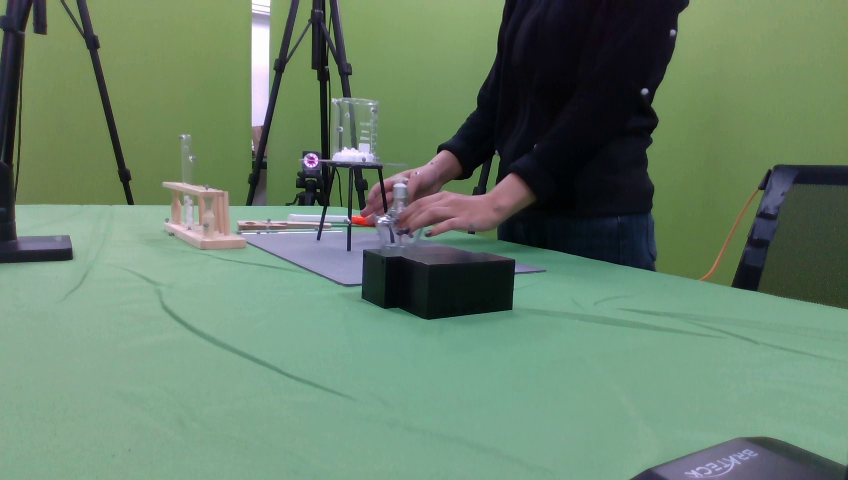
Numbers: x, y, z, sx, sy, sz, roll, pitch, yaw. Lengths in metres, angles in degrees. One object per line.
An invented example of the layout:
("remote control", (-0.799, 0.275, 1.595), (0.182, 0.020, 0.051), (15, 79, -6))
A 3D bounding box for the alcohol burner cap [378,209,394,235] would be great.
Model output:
("alcohol burner cap", (-0.072, -0.035, 1.145), (0.034, 0.048, 0.034), (3, 8, 0))

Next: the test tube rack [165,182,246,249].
("test tube rack", (-0.360, -0.045, 0.983), (0.067, 0.085, 0.241), (-3, 9, -34))

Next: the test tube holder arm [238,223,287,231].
("test tube holder arm", (-0.296, -0.024, 1.112), (0.088, 0.015, 0.010), (-1, 41, -32))

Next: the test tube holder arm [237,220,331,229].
("test tube holder arm", (-0.260, -0.028, 1.140), (0.179, 0.015, 0.013), (-1, 41, -32))

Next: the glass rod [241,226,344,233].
("glass rod", (-0.239, -0.019, 1.118), (0.201, 0.008, 0.008), (-3, 9, -33))

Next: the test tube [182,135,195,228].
("test tube", (-0.382, -0.095, 0.983), (0.017, 0.150, 0.017), (-1, 2, 0))

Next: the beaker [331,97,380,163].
("beaker", (-0.111, -0.171, 0.950), (0.073, 0.100, 0.084), (12, 12, 42))

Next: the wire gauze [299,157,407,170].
("wire gauze", (-0.112, -0.124, 0.959), (0.121, 0.011, 0.126), (13, 11, 40))

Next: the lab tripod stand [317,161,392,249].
("lab tripod stand", (-0.111, -0.059, 0.963), (0.148, 0.131, 0.148), (4, 8, 0))

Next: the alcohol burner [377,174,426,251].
("alcohol burner", (-0.035, -0.043, 0.945), (0.078, 0.119, 0.078), (1, 8, 0))

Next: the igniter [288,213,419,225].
("igniter", (-0.145, -0.044, 1.278), (0.278, 0.025, 0.057), (-1, -2, -21))
